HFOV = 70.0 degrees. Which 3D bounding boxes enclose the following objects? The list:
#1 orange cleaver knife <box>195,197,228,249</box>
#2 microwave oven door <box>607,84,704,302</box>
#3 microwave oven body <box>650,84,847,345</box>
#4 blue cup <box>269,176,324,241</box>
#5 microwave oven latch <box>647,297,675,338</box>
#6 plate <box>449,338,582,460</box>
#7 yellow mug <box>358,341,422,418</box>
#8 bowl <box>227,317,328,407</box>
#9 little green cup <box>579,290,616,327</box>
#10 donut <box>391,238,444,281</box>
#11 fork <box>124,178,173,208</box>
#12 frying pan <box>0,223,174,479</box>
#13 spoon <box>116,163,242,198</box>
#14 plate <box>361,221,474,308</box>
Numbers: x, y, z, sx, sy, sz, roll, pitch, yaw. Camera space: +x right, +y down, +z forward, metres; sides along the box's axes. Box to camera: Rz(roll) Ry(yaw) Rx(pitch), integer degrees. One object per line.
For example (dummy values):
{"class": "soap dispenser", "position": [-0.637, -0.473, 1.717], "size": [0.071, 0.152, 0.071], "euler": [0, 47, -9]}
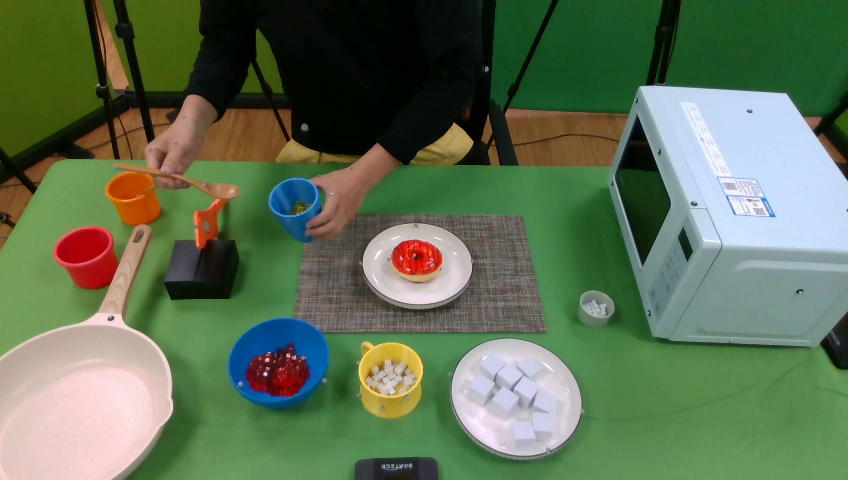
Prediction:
{"class": "orange cleaver knife", "position": [-0.406, -0.041, 1.163], "size": [0.012, 0.077, 0.210], "euler": [0, 18, -4]}
{"class": "microwave oven door", "position": [0.424, -0.096, 1.137], "size": [0.039, 0.245, 0.353], "euler": [2, 46, -1]}
{"class": "microwave oven body", "position": [0.569, -0.054, 1.115], "size": [0.326, 0.261, 0.439], "euler": [2, 46, -1]}
{"class": "blue cup", "position": [-0.217, -0.048, 1.071], "size": [0.092, 0.101, 0.092], "euler": [-2, 58, 4]}
{"class": "microwave oven latch", "position": [0.413, 0.133, 1.060], "size": [0.030, 0.029, 0.078], "euler": [5, 46, 2]}
{"class": "plate", "position": [0.141, 0.251, 0.956], "size": [0.208, 0.039, 0.206], "euler": [2, 46, -2]}
{"class": "yellow mug", "position": [-0.063, 0.210, 0.961], "size": [0.100, 0.064, 0.130], "euler": [-29, 54, -28]}
{"class": "bowl", "position": [-0.222, 0.203, 0.947], "size": [0.151, 0.077, 0.150], "euler": [2, 46, -2]}
{"class": "little green cup", "position": [0.308, 0.124, 1.086], "size": [0.061, 0.039, 0.061], "euler": [1, 45, -1]}
{"class": "donut", "position": [-0.012, 0.035, 1.128], "size": [0.099, 0.048, 0.098], "euler": [3, 43, -2]}
{"class": "fork", "position": [-0.525, -0.089, 1.153], "size": [0.207, 0.019, 0.028], "euler": [-17, 27, 45]}
{"class": "frying pan", "position": [-0.505, 0.169, 0.941], "size": [0.307, 0.103, 0.485], "euler": [5, 54, -1]}
{"class": "spoon", "position": [-0.394, -0.101, 0.985], "size": [0.194, 0.022, 0.041], "euler": [16, 37, -32]}
{"class": "plate", "position": [-0.011, 0.049, 1.130], "size": [0.209, 0.038, 0.208], "euler": [2, 46, -2]}
